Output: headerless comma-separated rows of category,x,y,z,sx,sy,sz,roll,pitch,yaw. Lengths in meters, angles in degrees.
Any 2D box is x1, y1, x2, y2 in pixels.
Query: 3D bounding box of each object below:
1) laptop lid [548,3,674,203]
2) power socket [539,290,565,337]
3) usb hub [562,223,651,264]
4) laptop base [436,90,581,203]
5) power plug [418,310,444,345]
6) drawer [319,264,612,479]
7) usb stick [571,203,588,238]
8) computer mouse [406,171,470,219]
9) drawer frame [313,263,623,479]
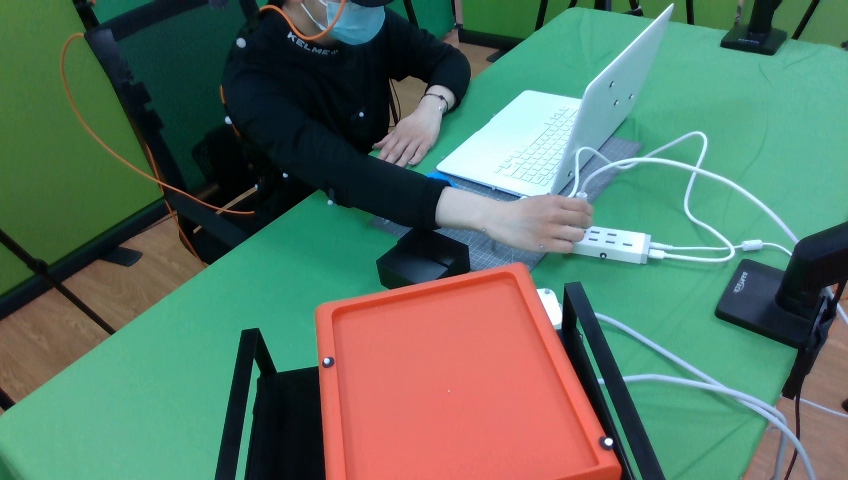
laptop lid,0.321,-0.235,1.026,0.013,0.242,0.357,31,50,20
power socket,0.081,0.112,0.822,0.227,0.033,0.072,-6,41,0
usb hub,0.279,0.005,0.925,0.124,0.025,0.049,10,42,19
laptop base,0.215,-0.192,1.172,0.233,0.023,0.355,19,46,32
power plug,0.007,0.122,0.785,0.035,0.053,0.072,0,39,7
drawer,0.020,0.129,0.497,0.195,0.073,0.210,-11,41,-5
usb stick,0.234,-0.026,0.913,0.021,0.059,0.027,8,42,18
computer mouse,0.024,-0.082,1.049,0.063,0.041,0.116,-29,49,-28
drawer frame,0.021,0.130,0.494,0.202,0.083,0.212,-11,41,-6
